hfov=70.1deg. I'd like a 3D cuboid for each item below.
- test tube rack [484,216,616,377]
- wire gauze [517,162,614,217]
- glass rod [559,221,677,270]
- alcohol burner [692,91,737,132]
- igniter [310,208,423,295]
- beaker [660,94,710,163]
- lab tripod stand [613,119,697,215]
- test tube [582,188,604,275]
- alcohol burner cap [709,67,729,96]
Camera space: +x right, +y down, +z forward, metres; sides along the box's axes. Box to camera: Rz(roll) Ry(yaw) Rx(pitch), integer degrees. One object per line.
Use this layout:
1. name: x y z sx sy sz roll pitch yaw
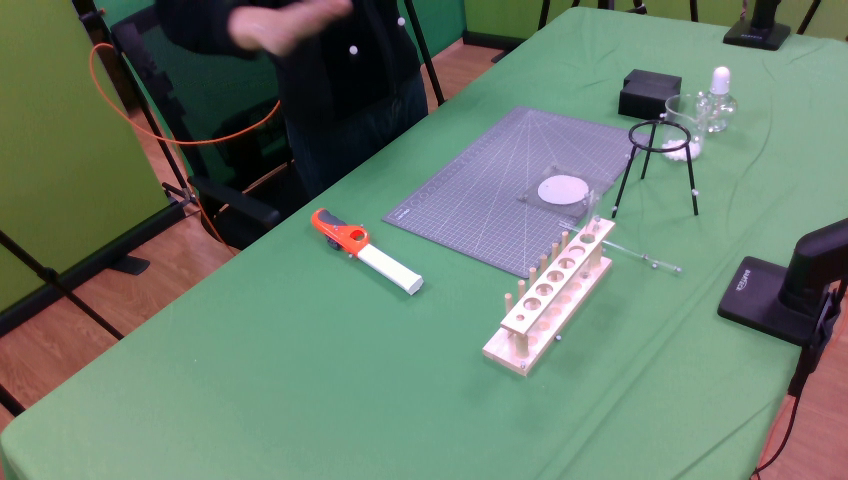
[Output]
1. test tube rack: 0.174 0.065 0.823 0.066 0.085 0.243 23 49 33
2. wire gauze: 0.245 -0.088 1.046 0.120 0.011 0.125 25 50 32
3. glass rod: 0.292 0.007 0.927 0.198 0.008 0.008 27 52 36
4. alcohol burner: 0.541 -0.262 1.118 0.078 0.119 0.077 -5 42 5
5. igniter: -0.103 0.012 0.981 0.057 0.025 0.274 -42 49 -20
6. beaker: 0.457 -0.192 1.063 0.074 0.101 0.083 -7 41 4
7. lab tripod stand: 0.369 -0.112 0.958 0.148 0.132 0.147 -4 40 4
8. test tube: 0.228 -0.007 0.821 0.017 0.151 0.017 -3 42 3
9. alcohol burner cap: 0.535 -0.289 1.094 0.034 0.048 0.033 -9 42 9
